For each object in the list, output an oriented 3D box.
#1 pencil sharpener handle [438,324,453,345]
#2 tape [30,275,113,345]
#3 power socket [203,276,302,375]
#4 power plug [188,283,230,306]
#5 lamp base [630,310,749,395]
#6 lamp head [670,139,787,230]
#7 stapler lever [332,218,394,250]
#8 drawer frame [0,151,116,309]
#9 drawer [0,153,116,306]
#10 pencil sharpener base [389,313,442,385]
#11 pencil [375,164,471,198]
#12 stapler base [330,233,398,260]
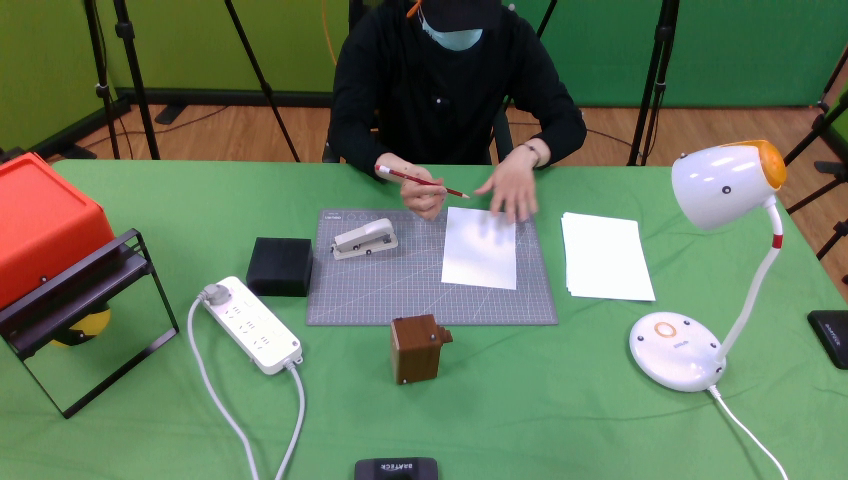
[{"bbox_3d":[0.036,0.155,0.976,0.031,0.068,0.036,-8,70,-11],"label":"pencil sharpener handle"},{"bbox_3d":[-0.593,0.117,1.021,0.117,0.053,0.116,2,46,-2],"label":"tape"},{"bbox_3d":[-0.297,0.141,1.034,0.072,0.033,0.225,-34,58,-30],"label":"power socket"},{"bbox_3d":[-0.368,0.099,1.037,0.072,0.053,0.035,-24,52,-26],"label":"power plug"},{"bbox_3d":[0.447,0.143,0.984,0.161,0.181,0.178,-24,55,-24],"label":"lamp base"},{"bbox_3d":[0.415,-0.079,0.812,0.113,0.123,0.112,13,70,-37],"label":"lamp head"},{"bbox_3d":[-0.116,-0.012,1.162,0.118,0.040,0.026,-13,47,-14],"label":"stapler lever"},{"bbox_3d":[-0.604,-0.013,0.876,0.201,0.083,0.213,31,52,23],"label":"drawer frame"},{"bbox_3d":[-0.601,-0.015,0.880,0.193,0.073,0.211,32,53,23],"label":"drawer"},{"bbox_3d":[-0.013,0.175,0.971,0.077,0.107,0.061,-8,47,-11],"label":"pencil sharpener base"},{"bbox_3d":[-0.002,-0.109,1.131,0.194,0.012,0.012,19,48,9],"label":"pencil"},{"bbox_3d":[-0.116,0.004,1.181,0.131,0.024,0.041,-13,47,-14],"label":"stapler base"}]
